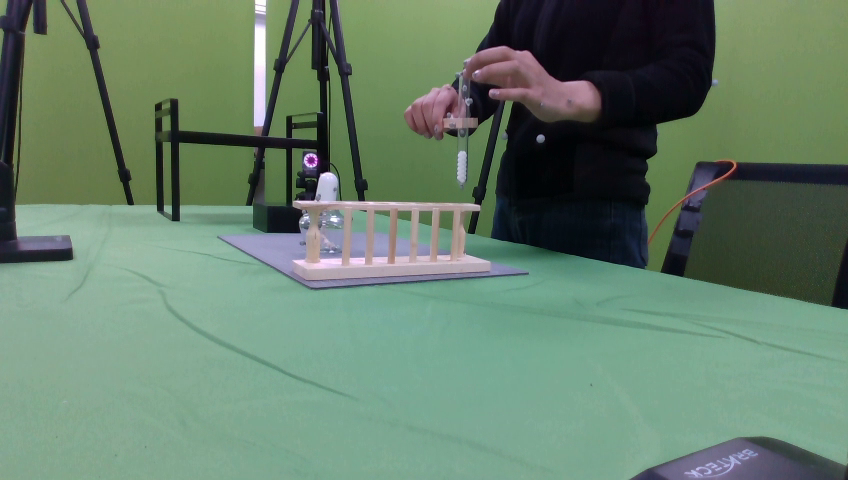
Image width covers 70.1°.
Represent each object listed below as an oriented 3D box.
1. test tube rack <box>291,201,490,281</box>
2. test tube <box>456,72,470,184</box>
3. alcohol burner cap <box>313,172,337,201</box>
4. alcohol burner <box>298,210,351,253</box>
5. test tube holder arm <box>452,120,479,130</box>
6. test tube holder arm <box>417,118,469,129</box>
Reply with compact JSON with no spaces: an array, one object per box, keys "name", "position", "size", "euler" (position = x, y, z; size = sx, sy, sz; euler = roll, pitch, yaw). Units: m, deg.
[{"name":"test tube rack","position":[-0.035,-0.002,0.745],"size":[0.243,0.085,0.066],"euler":[-1,8,-28]},{"name":"test tube","position":[0.053,-0.150,0.819],"size":[0.017,0.150,0.017],"euler":[1,11,0]},{"name":"alcohol burner cap","position":[-0.144,-0.076,0.888],"size":[0.034,0.048,0.034],"euler":[8,6,-1]},{"name":"alcohol burner","position":[-0.146,-0.040,0.894],"size":[0.078,0.119,0.078],"euler":[5,7,0]},{"name":"test tube holder arm","position":[0.048,-0.161,0.840],"size":[0.010,0.015,0.087],"euler":[2,9,-31]},{"name":"test tube holder arm","position":[0.024,-0.169,0.878],"size":[0.013,0.015,0.177],"euler":[4,9,-23]}]
